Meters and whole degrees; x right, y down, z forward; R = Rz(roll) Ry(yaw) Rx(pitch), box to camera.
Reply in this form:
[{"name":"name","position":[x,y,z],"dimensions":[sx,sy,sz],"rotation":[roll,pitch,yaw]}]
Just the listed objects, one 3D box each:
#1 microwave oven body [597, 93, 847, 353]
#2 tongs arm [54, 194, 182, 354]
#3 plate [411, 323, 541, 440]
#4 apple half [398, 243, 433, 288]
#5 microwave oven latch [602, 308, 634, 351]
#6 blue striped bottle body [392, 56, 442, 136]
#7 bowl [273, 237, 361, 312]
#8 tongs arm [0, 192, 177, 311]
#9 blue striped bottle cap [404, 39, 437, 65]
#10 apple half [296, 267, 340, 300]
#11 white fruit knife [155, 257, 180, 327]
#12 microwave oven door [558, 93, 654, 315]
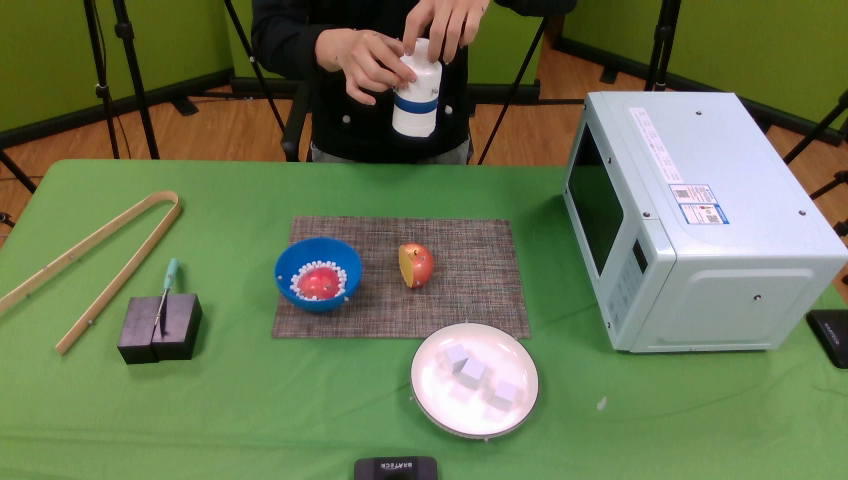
[{"name":"microwave oven body","position":[0.475,-0.041,1.109],"dimensions":[0.326,0.261,0.438],"rotation":[-1,45,-4]},{"name":"tongs arm","position":[-0.543,0.048,1.107],"dimensions":[0.028,0.028,0.385],"rotation":[11,45,10]},{"name":"plate","position":[0.082,0.228,0.976],"dimensions":[0.208,0.039,0.206],"rotation":[2,45,-2]},{"name":"apple half","position":[-0.012,0.046,1.115],"dimensions":[0.053,0.075,0.080],"rotation":[-11,44,-19]},{"name":"microwave oven latch","position":[0.332,0.153,1.044],"dimensions":[0.030,0.029,0.078],"rotation":[-1,45,-4]},{"name":"blue striped bottle body","position":[-0.010,-0.212,0.846],"dimensions":[0.063,0.121,0.062],"rotation":[5,40,-4]},{"name":"bowl","position":[-0.186,0.074,1.069],"dimensions":[0.151,0.077,0.150],"rotation":[3,46,-3]},{"name":"tongs arm","position":[-0.618,0.019,1.124],"dimensions":[0.050,0.026,0.384],"rotation":[23,47,16]},{"name":"blue striped bottle cap","position":[-0.005,-0.253,0.811],"dimensions":[0.044,0.021,0.044],"rotation":[5,37,-3]},{"name":"apple half","position":[-0.187,0.070,1.067],"dimensions":[0.081,0.033,0.081],"rotation":[2,47,-2]},{"name":"white fruit knife","position":[-0.440,0.085,1.037],"dimensions":[0.016,0.027,0.206],"rotation":[10,26,-19]},{"name":"microwave oven door","position":[0.327,-0.074,1.123],"dimensions":[0.039,0.245,0.353],"rotation":[0,46,-5]}]
